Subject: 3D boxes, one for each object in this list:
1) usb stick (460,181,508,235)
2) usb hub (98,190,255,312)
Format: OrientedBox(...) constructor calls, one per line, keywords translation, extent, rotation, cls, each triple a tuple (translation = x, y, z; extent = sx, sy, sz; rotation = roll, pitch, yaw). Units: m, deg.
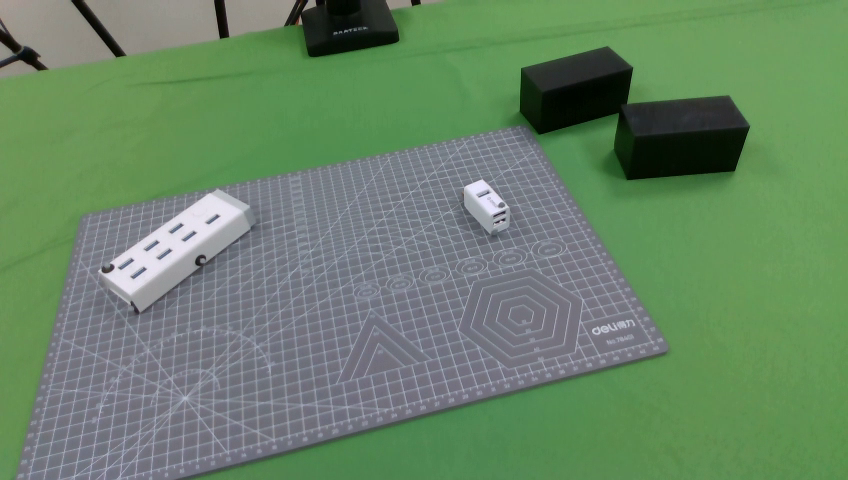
OrientedBox(translation=(0.050, -0.032, 0.535), extent=(0.021, 0.027, 0.058), rotation=(-26, 45, -14), cls="usb stick")
OrientedBox(translation=(-0.211, 0.006, 0.524), extent=(0.049, 0.025, 0.125), rotation=(26, 52, 29), cls="usb hub")
